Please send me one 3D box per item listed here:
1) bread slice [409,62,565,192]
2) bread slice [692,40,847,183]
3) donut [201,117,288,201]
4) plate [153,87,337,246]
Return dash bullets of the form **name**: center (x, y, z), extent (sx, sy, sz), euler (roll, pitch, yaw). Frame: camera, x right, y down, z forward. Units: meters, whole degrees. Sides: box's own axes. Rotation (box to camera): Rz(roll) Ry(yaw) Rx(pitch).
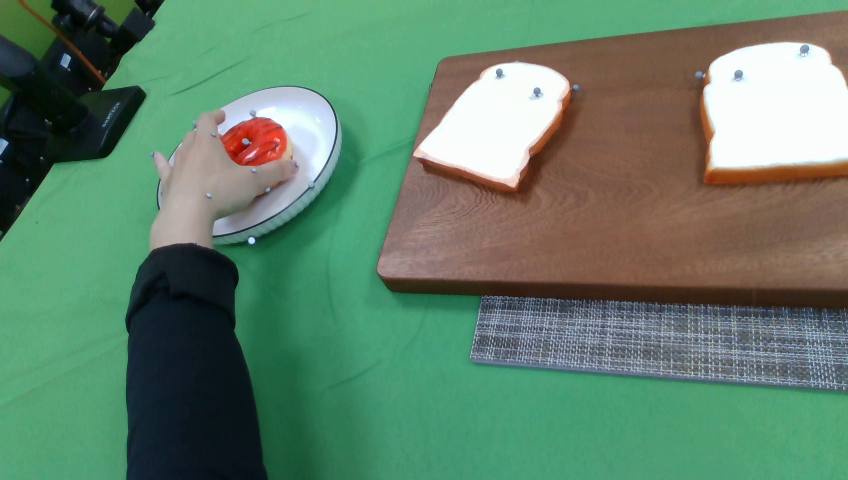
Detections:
- **bread slice**: center (0.061, -0.105, 0.539), extent (0.106, 0.018, 0.134), euler (19, 66, 31)
- **bread slice**: center (0.258, -0.101, 0.458), extent (0.104, 0.019, 0.130), euler (-3, 57, 19)
- **donut**: center (-0.188, -0.085, 0.634), extent (0.099, 0.049, 0.098), euler (-12, 55, 17)
- **plate**: center (-0.184, -0.077, 0.640), extent (0.209, 0.038, 0.207), euler (-11, 53, 14)
